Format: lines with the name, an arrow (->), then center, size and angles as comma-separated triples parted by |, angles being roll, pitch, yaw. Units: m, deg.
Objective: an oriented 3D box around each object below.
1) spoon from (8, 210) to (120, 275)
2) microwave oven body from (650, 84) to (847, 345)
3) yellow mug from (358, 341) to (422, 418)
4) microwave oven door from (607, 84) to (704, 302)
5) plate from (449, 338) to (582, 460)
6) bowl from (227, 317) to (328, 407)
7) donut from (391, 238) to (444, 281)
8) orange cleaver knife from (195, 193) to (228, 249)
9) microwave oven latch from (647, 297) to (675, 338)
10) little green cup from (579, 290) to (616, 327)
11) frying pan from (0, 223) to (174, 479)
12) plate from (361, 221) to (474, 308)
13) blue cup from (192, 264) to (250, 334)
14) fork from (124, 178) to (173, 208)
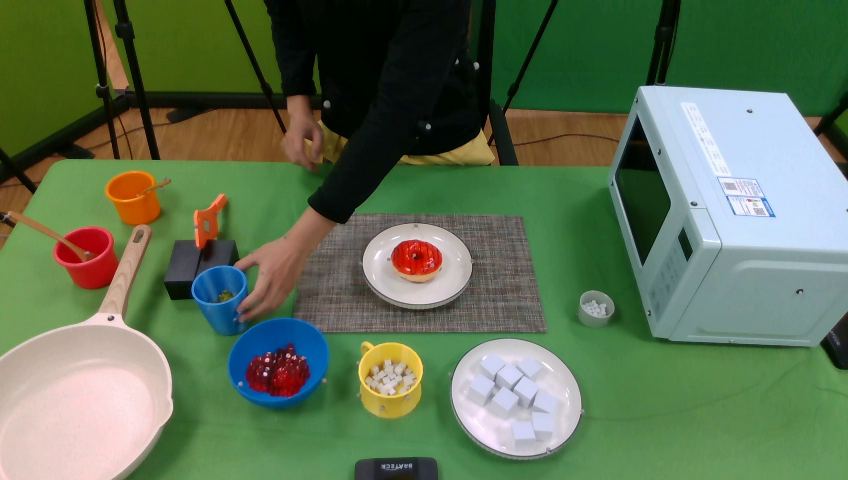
spoon -> -0.628, 0.002, 1.063 | 0.195, 0.021, 0.041 | 40, 41, -27
microwave oven body -> 0.569, -0.054, 1.115 | 0.326, 0.261, 0.439 | 2, 46, -1
yellow mug -> -0.063, 0.210, 0.961 | 0.100, 0.064, 0.130 | -29, 54, -28
microwave oven door -> 0.423, -0.096, 1.137 | 0.039, 0.245, 0.353 | 2, 46, -1
plate -> 0.141, 0.251, 0.955 | 0.208, 0.039, 0.206 | 2, 46, -2
bowl -> -0.222, 0.203, 0.947 | 0.151, 0.077, 0.150 | 2, 46, -2
donut -> -0.012, 0.035, 1.128 | 0.099, 0.048, 0.098 | 3, 43, -3
orange cleaver knife -> -0.406, -0.041, 1.163 | 0.012, 0.077, 0.210 | 0, 18, -3
microwave oven latch -> 0.413, 0.133, 1.060 | 0.030, 0.029, 0.078 | 5, 46, 2
little green cup -> 0.308, 0.124, 1.086 | 0.061, 0.039, 0.061 | 1, 45, -1
frying pan -> -0.505, 0.169, 0.940 | 0.307, 0.103, 0.485 | 5, 54, -1
plate -> -0.011, 0.049, 1.130 | 0.209, 0.038, 0.208 | 2, 46, -2
blue cup -> -0.332, 0.105, 1.015 | 0.093, 0.101, 0.092 | 1, 46, -1
fork -> -0.525, -0.089, 1.153 | 0.207, 0.019, 0.028 | -17, 26, 45
